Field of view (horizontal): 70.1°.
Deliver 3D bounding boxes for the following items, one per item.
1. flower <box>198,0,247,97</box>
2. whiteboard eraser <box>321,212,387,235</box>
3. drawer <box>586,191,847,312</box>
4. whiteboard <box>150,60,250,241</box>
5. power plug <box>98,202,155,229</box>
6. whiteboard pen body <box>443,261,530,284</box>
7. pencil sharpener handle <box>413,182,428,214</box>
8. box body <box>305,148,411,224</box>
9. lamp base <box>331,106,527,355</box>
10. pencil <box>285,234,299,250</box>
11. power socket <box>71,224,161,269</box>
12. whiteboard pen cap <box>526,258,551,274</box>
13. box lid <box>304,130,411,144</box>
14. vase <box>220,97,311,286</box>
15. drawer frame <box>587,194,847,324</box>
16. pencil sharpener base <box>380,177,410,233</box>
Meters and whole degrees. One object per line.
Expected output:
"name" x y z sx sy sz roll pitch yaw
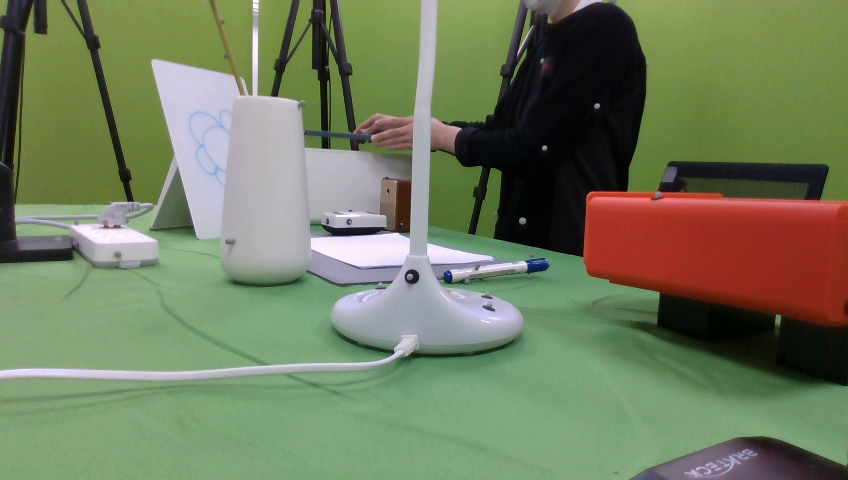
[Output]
"flower" -0.187 -0.133 0.648 0.038 0.362 0.044 0 22 43
"whiteboard eraser" -0.128 -0.031 1.108 0.113 0.042 0.055 -3 7 -38
"drawer" 0.281 0.001 0.513 0.195 0.073 0.210 -1 8 -29
"whiteboard" -0.408 -0.139 1.093 0.143 0.305 0.218 -15 -1 26
"power plug" -0.416 -0.027 0.848 0.073 0.052 0.035 0 8 -28
"whiteboard pen body" 0.087 0.037 0.734 0.141 0.017 0.017 -6 10 -27
"pencil sharpener handle" -0.003 -0.086 1.254 0.031 0.067 0.036 -3 18 -37
"box body" -0.230 -0.126 1.370 0.366 0.160 0.253 -2 8 -33
"lamp base" 0.006 -0.012 0.478 0.161 0.180 0.179 2 10 2
"pencil" -0.209 0.000 0.969 0.012 0.012 0.193 1 6 -8
"power socket" -0.408 0.004 0.793 0.072 0.032 0.225 -2 8 -38
"whiteboard pen cap" 0.141 0.033 0.759 0.033 0.018 0.018 -7 11 -26
"box lid" -0.205 -0.234 1.356 0.373 0.015 0.262 1 10 -23
"vase" -0.172 -0.052 0.662 0.098 0.200 0.098 3 8 0
"drawer frame" 0.286 0.004 0.508 0.203 0.082 0.212 -1 6 -30
"pencil sharpener base" -0.042 -0.071 1.222 0.077 0.107 0.061 -3 9 -37
